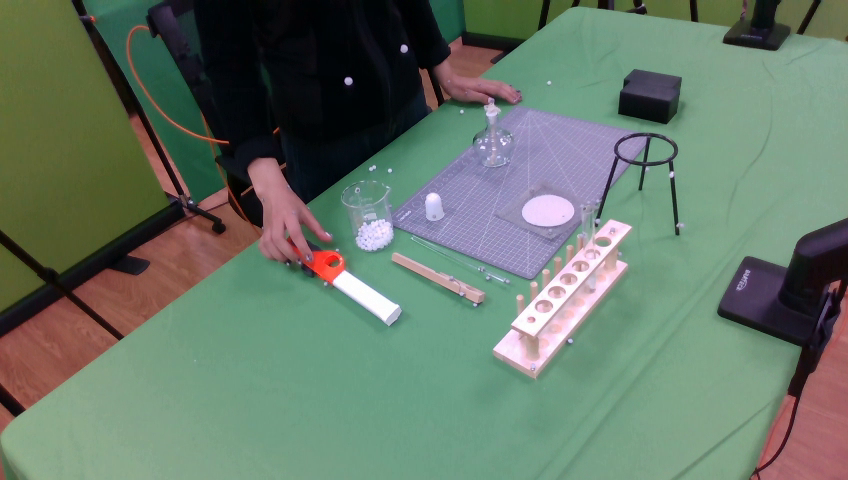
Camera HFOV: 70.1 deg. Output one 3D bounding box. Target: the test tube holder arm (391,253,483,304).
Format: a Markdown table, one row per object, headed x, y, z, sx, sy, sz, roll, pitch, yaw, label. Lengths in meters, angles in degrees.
| x | y | z | sx | sy | sz | roll | pitch | yaw | label |
| --- | --- | --- | --- | --- | --- | --- | --- | --- | --- |
| 0.016 | 0.056 | 0.917 | 0.177 | 0.015 | 0.013 | 24 | 17 | 34 | test tube holder arm |

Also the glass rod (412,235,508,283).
| x | y | z | sx | sy | sz | roll | pitch | yaw | label |
| --- | --- | --- | --- | --- | --- | --- | --- | --- | --- |
| 0.051 | 0.028 | 0.951 | 0.198 | 0.008 | 0.008 | 25 | 51 | 37 | glass rod |

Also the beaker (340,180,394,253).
| x | y | z | sx | sy | sz | roll | pitch | yaw | label |
| --- | --- | --- | --- | --- | --- | --- | --- | --- | --- |
| -0.087 | -0.037 | 0.985 | 0.084 | 0.101 | 0.073 | -18 | 41 | -11 | beaker |

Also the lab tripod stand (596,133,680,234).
| x | y | z | sx | sy | sz | roll | pitch | yaw | label |
| --- | --- | --- | --- | --- | --- | --- | --- | --- | --- |
| 0.338 | -0.090 | 0.940 | 0.148 | 0.132 | 0.147 | -7 | 39 | 6 | lab tripod stand |

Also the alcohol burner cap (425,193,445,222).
| x | y | z | sx | sy | sz | roll | pitch | yaw | label |
| --- | --- | --- | --- | --- | --- | --- | --- | --- | --- |
| 0.017 | -0.058 | 1.029 | 0.034 | 0.048 | 0.033 | -6 | 40 | 5 | alcohol burner cap |

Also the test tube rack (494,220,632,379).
| x | y | z | sx | sy | sz | roll | pitch | yaw | label |
| --- | --- | --- | --- | --- | --- | --- | --- | --- | --- |
| 0.191 | 0.068 | 0.818 | 0.066 | 0.085 | 0.243 | 25 | 51 | 35 | test tube rack |

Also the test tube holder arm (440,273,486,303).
| x | y | z | sx | sy | sz | roll | pitch | yaw | label |
| --- | --- | --- | --- | --- | --- | --- | --- | --- | --- |
| 0.053 | 0.070 | 0.896 | 0.087 | 0.015 | 0.010 | 24 | 17 | 35 | test tube holder arm |

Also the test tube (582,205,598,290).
| x | y | z | sx | sy | sz | roll | pitch | yaw | label |
| --- | --- | --- | --- | --- | --- | --- | --- | --- | --- |
| 0.220 | 0.014 | 0.798 | 0.017 | 0.151 | 0.017 | -9 | 43 | 9 | test tube |

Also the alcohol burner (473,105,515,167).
| x | y | z | sx | sy | sz | roll | pitch | yaw | label |
| --- | --- | --- | --- | --- | --- | --- | --- | --- | --- |
| 0.128 | -0.196 | 1.116 | 0.078 | 0.119 | 0.077 | -4 | 40 | 4 | alcohol burner |

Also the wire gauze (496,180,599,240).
| x | y | z | sx | sy | sz | roll | pitch | yaw | label |
| --- | --- | --- | --- | --- | --- | --- | --- | --- | --- |
| 0.206 | -0.050 | 1.012 | 0.125 | 0.011 | 0.120 | -34 | 45 | -26 | wire gauze |

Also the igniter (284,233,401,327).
| x | y | z | sx | sy | sz | roll | pitch | yaw | label |
| --- | --- | --- | --- | --- | --- | --- | --- | --- | --- |
| -0.136 | 0.055 | 0.942 | 0.274 | 0.025 | 0.057 | 30 | 65 | 37 | igniter |
